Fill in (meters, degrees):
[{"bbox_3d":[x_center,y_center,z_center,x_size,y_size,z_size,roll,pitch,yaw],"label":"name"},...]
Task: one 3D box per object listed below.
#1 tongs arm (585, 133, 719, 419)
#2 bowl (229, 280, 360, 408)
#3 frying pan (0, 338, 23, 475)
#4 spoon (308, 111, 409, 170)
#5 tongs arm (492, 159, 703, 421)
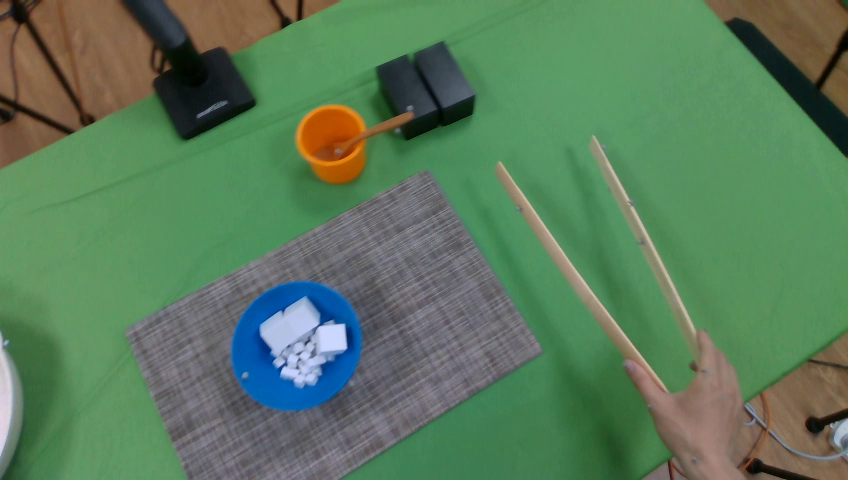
[{"bbox_3d":[0.261,0.025,0.741,0.051,0.027,0.381,-13,62,-13],"label":"tongs arm"},{"bbox_3d":[-0.149,0.130,0.736,0.151,0.077,0.150,0,71,0],"label":"bowl"},{"bbox_3d":[-0.542,0.282,0.675,0.484,0.103,0.306,41,77,21],"label":"frying pan"},{"bbox_3d":[-0.090,-0.131,0.793,0.022,0.193,0.041,24,62,-37],"label":"spoon"},{"bbox_3d":[0.188,0.047,0.723,0.028,0.028,0.384,-22,64,-22],"label":"tongs arm"}]
